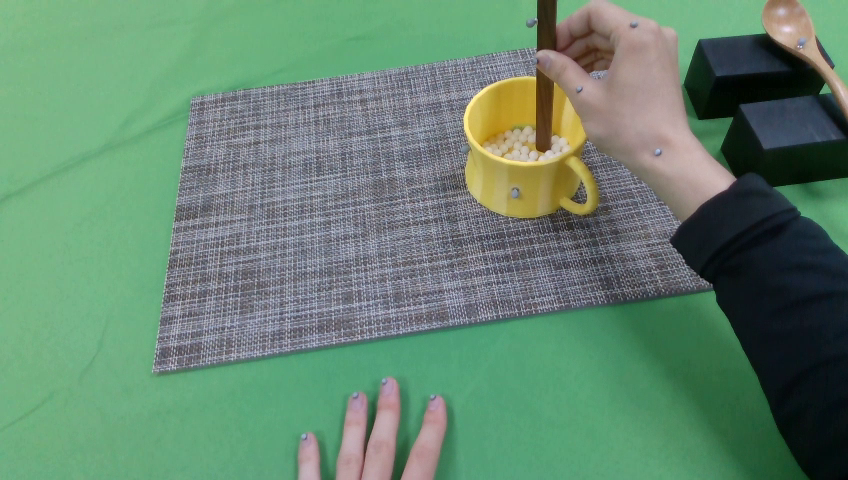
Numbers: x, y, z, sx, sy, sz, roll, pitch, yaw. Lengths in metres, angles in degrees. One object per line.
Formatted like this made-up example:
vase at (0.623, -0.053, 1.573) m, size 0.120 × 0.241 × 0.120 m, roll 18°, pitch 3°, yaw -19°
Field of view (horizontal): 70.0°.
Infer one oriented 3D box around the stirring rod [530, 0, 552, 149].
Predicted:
stirring rod at (0.088, -0.132, 0.458) m, size 0.014 × 0.178 × 0.006 m, roll 17°, pitch 60°, yaw 20°

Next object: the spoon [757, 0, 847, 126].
spoon at (0.319, -0.132, 0.486) m, size 0.041 × 0.022 × 0.192 m, roll -8°, pitch 57°, yaw -1°

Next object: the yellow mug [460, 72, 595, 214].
yellow mug at (0.089, -0.070, 0.491) m, size 0.100 × 0.064 × 0.129 m, roll -35°, pitch 60°, yaw -18°
